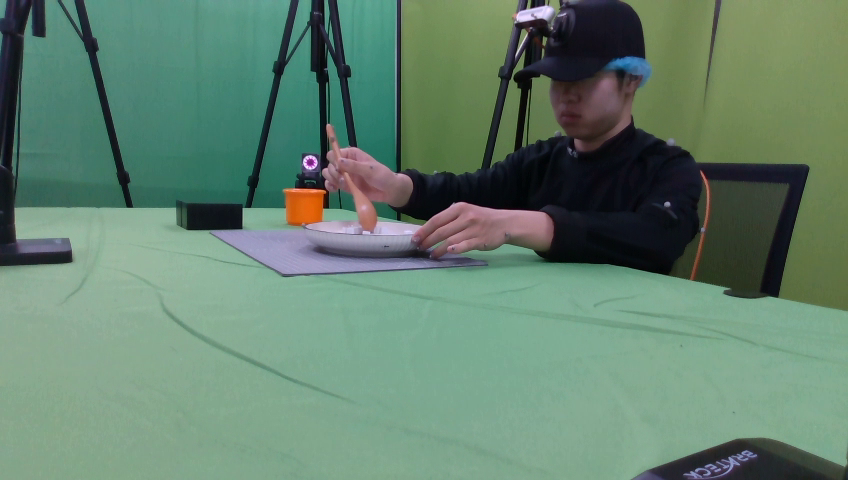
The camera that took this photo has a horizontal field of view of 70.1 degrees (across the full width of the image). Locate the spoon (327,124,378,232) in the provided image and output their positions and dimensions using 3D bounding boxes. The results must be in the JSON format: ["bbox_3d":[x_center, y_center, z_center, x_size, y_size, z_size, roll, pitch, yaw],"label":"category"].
[{"bbox_3d":[-0.118,-0.100,0.953,0.042,0.193,0.021,-7,-26,-49],"label":"spoon"}]

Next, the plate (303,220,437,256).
[{"bbox_3d":[-0.084,-0.003,0.951,0.209,0.038,0.209,3,7,0],"label":"plate"}]

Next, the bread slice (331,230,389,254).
[{"bbox_3d":[-0.088,0.001,0.947,0.131,0.019,0.105,12,11,44],"label":"bread slice"}]
